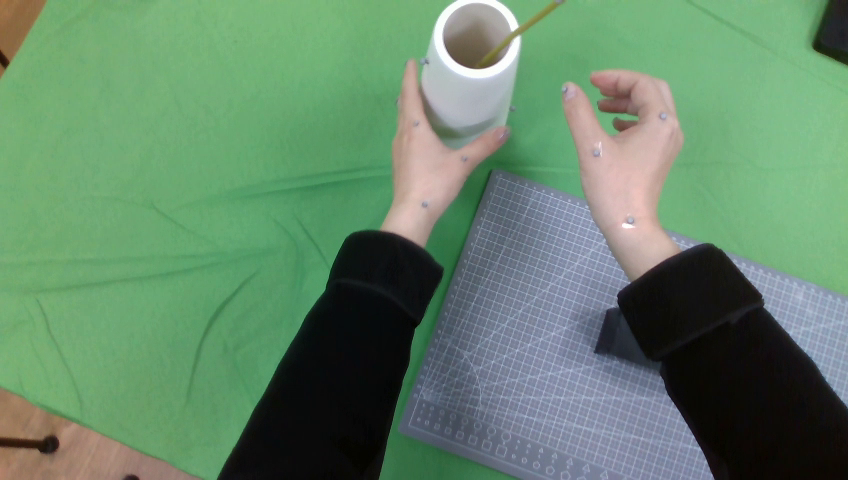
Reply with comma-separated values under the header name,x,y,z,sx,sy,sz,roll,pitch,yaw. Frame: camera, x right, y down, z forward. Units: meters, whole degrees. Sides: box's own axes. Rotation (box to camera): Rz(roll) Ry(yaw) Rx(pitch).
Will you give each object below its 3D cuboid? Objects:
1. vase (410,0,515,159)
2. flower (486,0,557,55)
name,x,y,z,sx,sy,sz,roll,pitch,yaw
vase,0.037,-0.147,0.576,0.098,0.200,0.098,1,80,-3
flower,0.056,-0.157,0.496,0.038,0.360,0.044,38,74,-13
